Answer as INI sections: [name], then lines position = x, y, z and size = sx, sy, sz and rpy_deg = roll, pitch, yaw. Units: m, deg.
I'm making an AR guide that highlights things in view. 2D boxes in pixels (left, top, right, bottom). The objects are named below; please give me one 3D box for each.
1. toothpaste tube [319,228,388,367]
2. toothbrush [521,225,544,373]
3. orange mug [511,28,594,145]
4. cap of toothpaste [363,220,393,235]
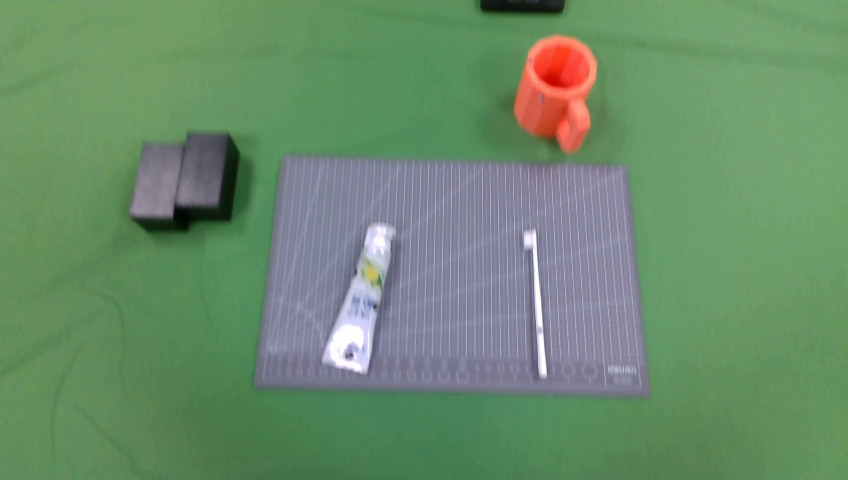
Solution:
[toothpaste tube]
position = -0.076, 0.062, 0.710
size = 0.055, 0.035, 0.164
rpy_deg = 11, 75, 10
[toothbrush]
position = 0.130, 0.067, 0.721
size = 0.016, 0.014, 0.180
rpy_deg = -2, 71, 1
[orange mug]
position = 0.168, -0.189, 0.769
size = 0.083, 0.101, 0.125
rpy_deg = -19, 68, -8
[cap of toothpaste]
position = -0.056, -0.014, 0.730
size = 0.037, 0.037, 0.011
rpy_deg = 3, 68, -1
